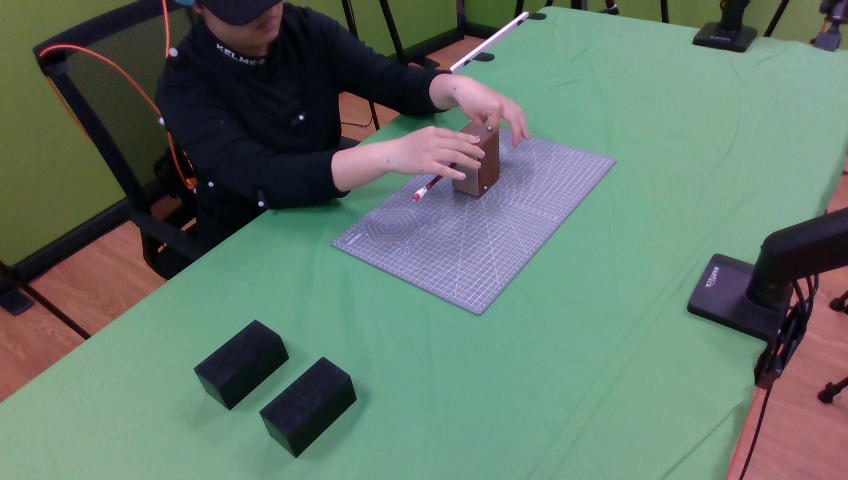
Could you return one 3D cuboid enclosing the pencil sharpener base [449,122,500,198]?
[{"bbox_3d":[0.090,-0.140,1.052,0.061,0.107,0.077,21,47,29],"label":"pencil sharpener base"}]

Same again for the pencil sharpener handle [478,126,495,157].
[{"bbox_3d":[0.115,-0.180,1.076,0.036,0.068,0.031,30,51,19],"label":"pencil sharpener handle"}]

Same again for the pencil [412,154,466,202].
[{"bbox_3d":[0.040,-0.116,0.987,0.012,0.012,0.194,21,46,30],"label":"pencil"}]
